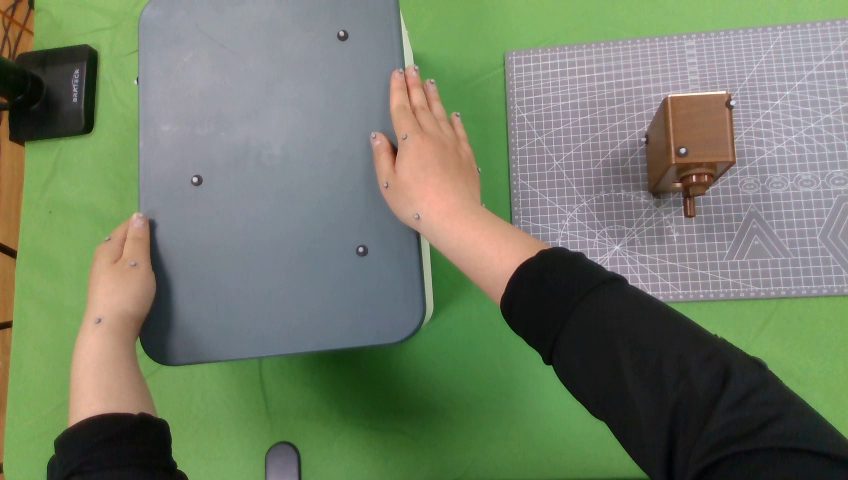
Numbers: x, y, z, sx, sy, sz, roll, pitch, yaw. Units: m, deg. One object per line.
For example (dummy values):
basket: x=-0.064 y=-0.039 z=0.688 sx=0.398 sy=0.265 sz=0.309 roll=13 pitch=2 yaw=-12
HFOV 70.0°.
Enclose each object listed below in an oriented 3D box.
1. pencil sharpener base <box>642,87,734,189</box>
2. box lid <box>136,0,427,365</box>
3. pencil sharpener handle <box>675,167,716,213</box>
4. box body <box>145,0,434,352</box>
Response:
pencil sharpener base: x=0.261 y=-0.095 z=0.607 sx=0.061 sy=0.107 sz=0.076 roll=-3 pitch=80 yaw=9
box lid: x=-0.141 y=-0.080 z=0.564 sx=0.263 sy=0.015 sz=0.370 roll=-7 pitch=81 yaw=7
pencil sharpener handle: x=0.261 y=-0.047 z=0.586 sx=0.036 sy=0.068 sz=0.030 roll=-4 pitch=79 yaw=15
box body: x=-0.132 y=-0.071 z=0.642 sx=0.254 sy=0.161 sz=0.362 roll=-7 pitch=79 yaw=8
